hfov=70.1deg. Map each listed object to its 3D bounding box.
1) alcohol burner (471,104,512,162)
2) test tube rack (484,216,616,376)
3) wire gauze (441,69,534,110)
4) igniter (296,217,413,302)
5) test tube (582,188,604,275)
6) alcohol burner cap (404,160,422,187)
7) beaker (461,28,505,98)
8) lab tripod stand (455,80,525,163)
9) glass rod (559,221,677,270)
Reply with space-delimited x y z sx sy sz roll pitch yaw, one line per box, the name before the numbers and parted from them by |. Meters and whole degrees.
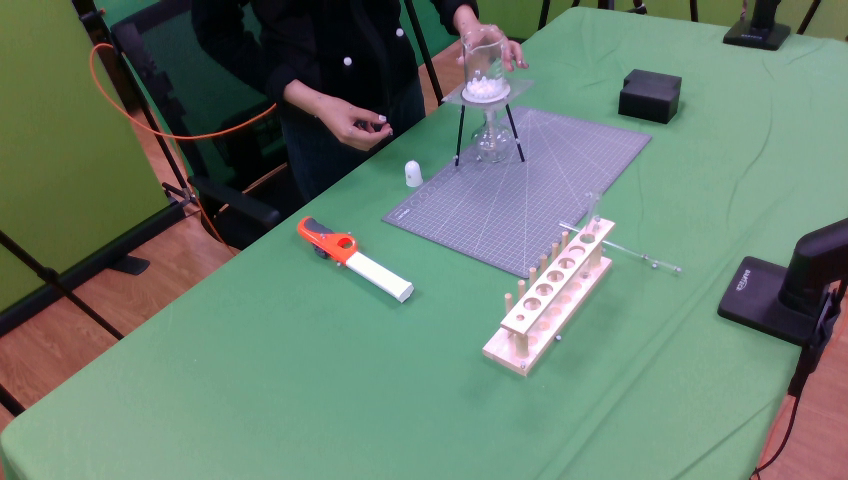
alcohol burner | 0.125 -0.207 1.126 0.078 0.119 0.077 -5 42 5
test tube rack | 0.174 0.064 0.823 0.066 0.085 0.243 23 49 33
wire gauze | 0.114 -0.268 1.082 0.120 0.011 0.125 22 47 28
igniter | -0.121 0.025 0.970 0.274 0.025 0.057 29 63 37
test tube | 0.228 -0.007 0.821 0.017 0.151 0.017 -3 42 3
alcohol burner cap | -0.022 -0.125 1.118 0.034 0.048 0.033 -5 40 5
beaker | 0.103 -0.304 1.051 0.073 0.101 0.084 19 48 29
lab tripod stand | 0.120 -0.220 1.126 0.148 0.132 0.147 -4 40 4
glass rod | 0.292 0.007 0.927 0.198 0.008 0.008 26 52 36
